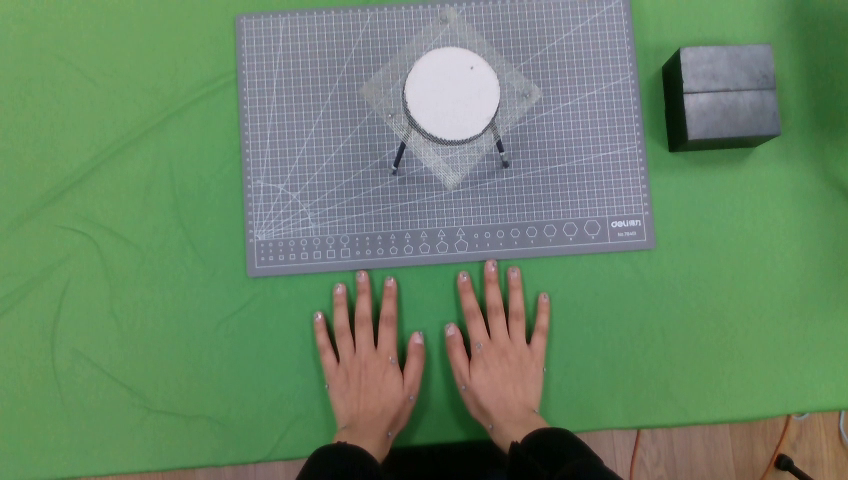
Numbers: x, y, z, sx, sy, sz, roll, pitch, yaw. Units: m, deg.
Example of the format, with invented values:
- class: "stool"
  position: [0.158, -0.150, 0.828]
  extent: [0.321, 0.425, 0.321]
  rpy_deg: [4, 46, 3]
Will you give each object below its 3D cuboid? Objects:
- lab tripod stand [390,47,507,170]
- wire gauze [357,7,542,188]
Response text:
- class: "lab tripod stand"
  position: [0.027, -0.125, 0.614]
  extent: [0.148, 0.131, 0.148]
  rpy_deg: [0, 83, -2]
- class: "wire gauze"
  position: [0.023, -0.132, 0.547]
  extent: [0.121, 0.011, 0.125]
  rpy_deg: [-44, 87, -5]
